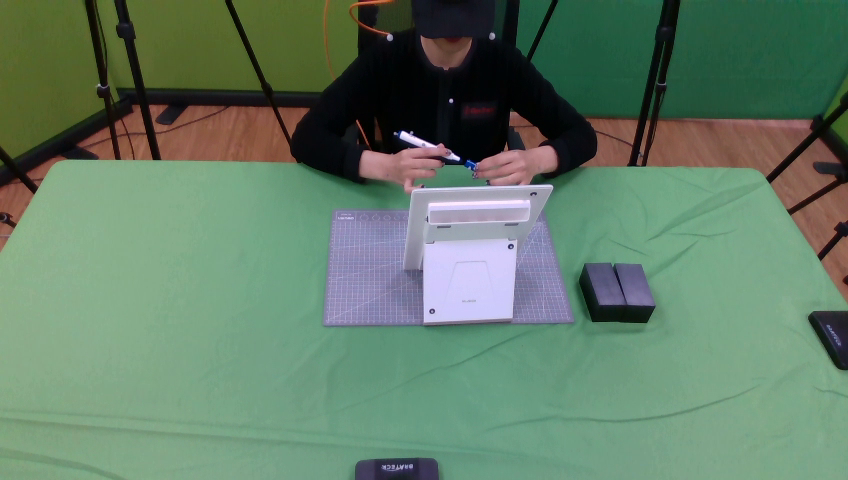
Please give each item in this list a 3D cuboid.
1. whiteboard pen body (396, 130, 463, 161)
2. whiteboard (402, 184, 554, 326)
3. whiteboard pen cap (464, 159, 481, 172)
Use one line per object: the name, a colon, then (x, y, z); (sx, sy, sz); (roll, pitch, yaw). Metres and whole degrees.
whiteboard pen body: (0.012, -0.185, 1.197); (0.141, 0.017, 0.017); (23, 48, 1)
whiteboard: (0.081, 0.044, 1.005); (0.217, 0.306, 0.143); (-1, 66, -6)
whiteboard pen cap: (0.096, -0.148, 1.197); (0.033, 0.018, 0.018); (26, 48, -4)
